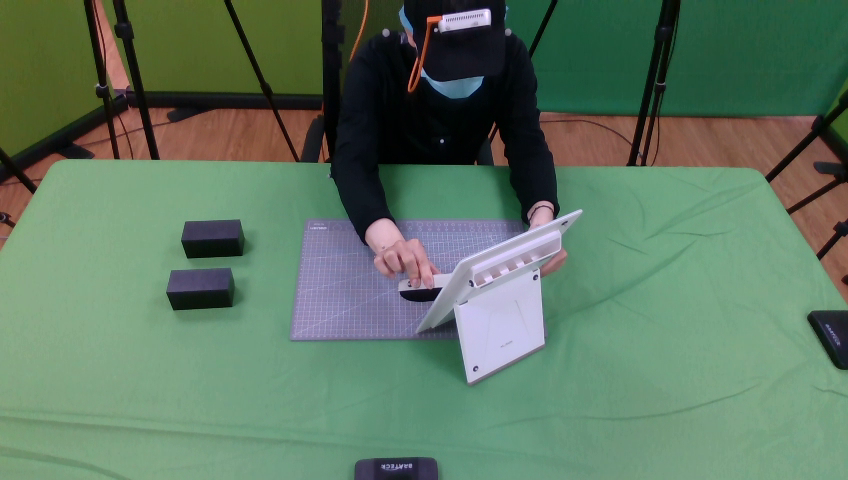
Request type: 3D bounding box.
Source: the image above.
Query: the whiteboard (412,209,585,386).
[{"bbox_3d":[0.135,0.110,0.943,0.217,0.306,0.143,-21,72,-22],"label":"whiteboard"}]

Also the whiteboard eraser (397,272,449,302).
[{"bbox_3d":[0.015,0.077,0.980,0.112,0.056,0.041,-10,74,36],"label":"whiteboard eraser"}]
